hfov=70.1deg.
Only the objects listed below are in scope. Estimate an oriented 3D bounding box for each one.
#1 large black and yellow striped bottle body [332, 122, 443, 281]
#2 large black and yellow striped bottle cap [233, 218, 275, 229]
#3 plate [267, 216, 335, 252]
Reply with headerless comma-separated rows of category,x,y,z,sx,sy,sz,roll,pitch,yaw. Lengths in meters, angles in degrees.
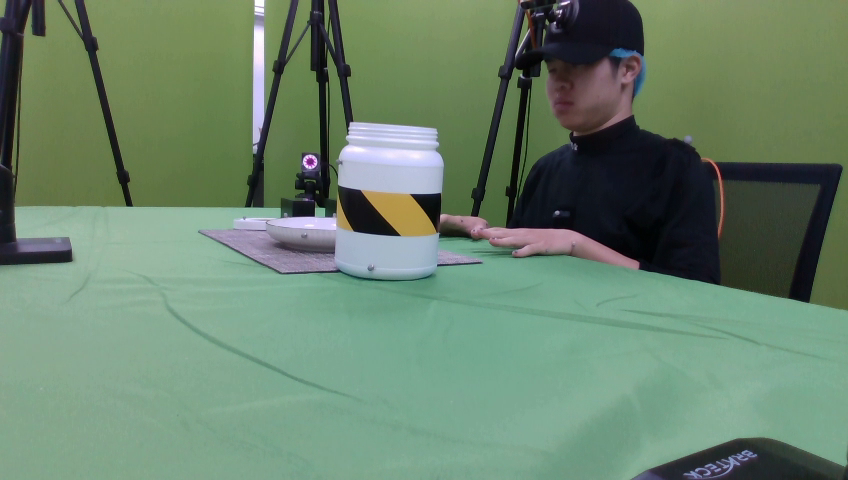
large black and yellow striped bottle body,-0.045,-0.051,0.755,0.131,0.184,0.130,4,10,0
large black and yellow striped bottle cap,-0.311,-0.032,1.172,0.115,0.019,0.115,1,4,0
plate,-0.145,-0.010,0.967,0.208,0.039,0.207,2,7,0
